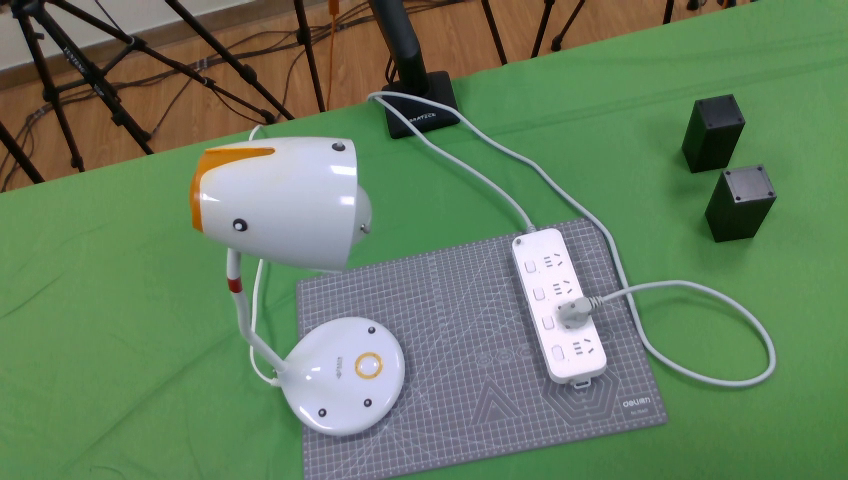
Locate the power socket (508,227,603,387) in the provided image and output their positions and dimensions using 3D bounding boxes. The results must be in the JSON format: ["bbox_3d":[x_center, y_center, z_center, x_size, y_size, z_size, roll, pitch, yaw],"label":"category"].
[{"bbox_3d":[0.169,0.080,0.799,0.072,0.033,0.224,-14,59,2],"label":"power socket"}]

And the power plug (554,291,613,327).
[{"bbox_3d":[0.202,0.091,0.765,0.072,0.053,0.035,-4,62,6],"label":"power plug"}]

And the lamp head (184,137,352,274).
[{"bbox_3d":[-0.125,-0.028,0.484,0.123,0.113,0.111,0,59,-14],"label":"lamp head"}]

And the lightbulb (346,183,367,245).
[{"bbox_3d":[-0.099,-0.027,0.484,0.108,0.060,0.059,10,60,-16],"label":"lightbulb"}]

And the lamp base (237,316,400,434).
[{"bbox_3d":[-0.135,0.142,0.735,0.179,0.182,0.159,-17,59,4],"label":"lamp base"}]
